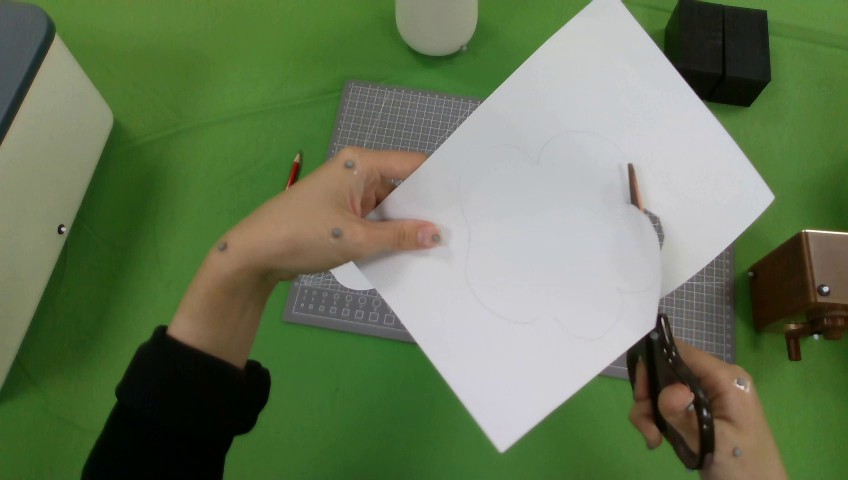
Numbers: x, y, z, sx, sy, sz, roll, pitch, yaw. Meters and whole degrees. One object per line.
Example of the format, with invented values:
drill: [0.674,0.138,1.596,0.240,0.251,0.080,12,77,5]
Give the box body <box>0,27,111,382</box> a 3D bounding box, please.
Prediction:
box body: [-0.496,-0.043,0.573,0.254,0.161,0.361,9,69,4]

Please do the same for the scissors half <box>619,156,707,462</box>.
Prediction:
scissors half: [0.130,0.038,0.337,0.013,0.040,0.175,-13,88,-6]

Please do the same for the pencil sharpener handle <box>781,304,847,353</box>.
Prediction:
pencil sharpener handle: [0.350,0.081,0.542,0.036,0.068,0.030,9,68,-11]

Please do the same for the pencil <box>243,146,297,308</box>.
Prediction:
pencil: [-0.161,-0.019,0.648,0.012,0.012,0.193,9,67,4]

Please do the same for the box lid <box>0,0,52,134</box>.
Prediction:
box lid: [-0.497,-0.073,0.504,0.263,0.015,0.369,9,69,3]

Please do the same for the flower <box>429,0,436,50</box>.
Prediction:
flower: [0.004,-0.345,0.583,0.044,0.365,0.038,2,51,5]

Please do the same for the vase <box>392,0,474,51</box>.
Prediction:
vase: [0.009,-0.301,0.655,0.098,0.201,0.097,0,67,1]

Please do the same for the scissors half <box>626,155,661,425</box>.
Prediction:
scissors half: [0.128,0.034,0.358,0.013,0.176,0.039,-12,24,-1]

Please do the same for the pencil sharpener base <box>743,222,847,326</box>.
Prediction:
pencil sharpener base: [0.358,0.039,0.572,0.061,0.108,0.076,4,69,2]
